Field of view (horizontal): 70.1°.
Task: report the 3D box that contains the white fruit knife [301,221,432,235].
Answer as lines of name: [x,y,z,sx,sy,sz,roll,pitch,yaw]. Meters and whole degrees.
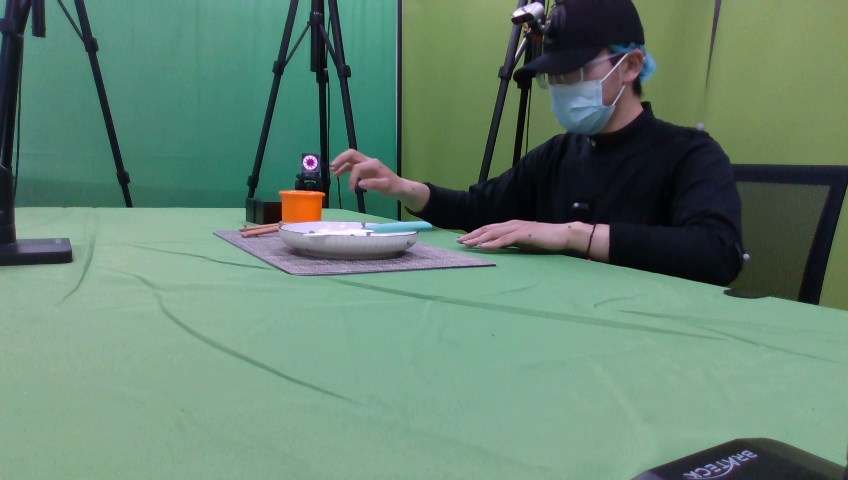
white fruit knife: [-0.079,-0.015,0.858,0.208,0.016,0.027,-4,14,-38]

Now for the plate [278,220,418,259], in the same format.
plate: [-0.114,-0.002,0.914,0.209,0.038,0.209,2,8,0]

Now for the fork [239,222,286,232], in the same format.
fork: [-0.240,-0.025,1.125,0.208,0.018,0.028,-1,14,-35]

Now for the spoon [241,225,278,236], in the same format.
spoon: [-0.232,-0.021,1.082,0.195,0.021,0.041,-3,27,-37]
